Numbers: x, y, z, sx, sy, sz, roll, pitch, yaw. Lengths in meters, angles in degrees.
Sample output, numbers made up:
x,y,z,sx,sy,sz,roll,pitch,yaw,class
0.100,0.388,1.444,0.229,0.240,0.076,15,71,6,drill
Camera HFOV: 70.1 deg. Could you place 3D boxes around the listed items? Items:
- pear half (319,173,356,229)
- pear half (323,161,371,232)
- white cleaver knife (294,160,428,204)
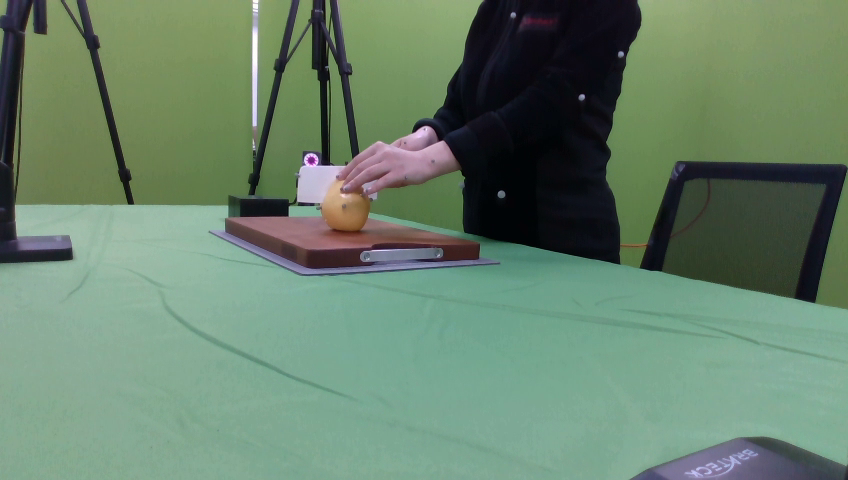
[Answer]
x,y,z,sx,sy,sz,roll,pitch,yaw,class
-0.142,-0.061,0.960,0.031,0.088,0.071,3,11,35,pear half
-0.113,-0.067,0.936,0.055,0.110,0.077,6,13,37,pear half
-0.096,-0.096,0.989,0.021,0.066,0.288,15,17,41,white cleaver knife
